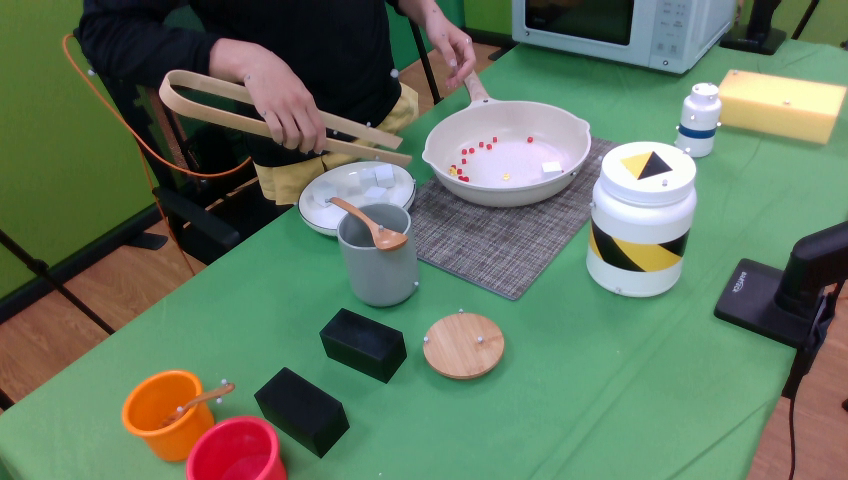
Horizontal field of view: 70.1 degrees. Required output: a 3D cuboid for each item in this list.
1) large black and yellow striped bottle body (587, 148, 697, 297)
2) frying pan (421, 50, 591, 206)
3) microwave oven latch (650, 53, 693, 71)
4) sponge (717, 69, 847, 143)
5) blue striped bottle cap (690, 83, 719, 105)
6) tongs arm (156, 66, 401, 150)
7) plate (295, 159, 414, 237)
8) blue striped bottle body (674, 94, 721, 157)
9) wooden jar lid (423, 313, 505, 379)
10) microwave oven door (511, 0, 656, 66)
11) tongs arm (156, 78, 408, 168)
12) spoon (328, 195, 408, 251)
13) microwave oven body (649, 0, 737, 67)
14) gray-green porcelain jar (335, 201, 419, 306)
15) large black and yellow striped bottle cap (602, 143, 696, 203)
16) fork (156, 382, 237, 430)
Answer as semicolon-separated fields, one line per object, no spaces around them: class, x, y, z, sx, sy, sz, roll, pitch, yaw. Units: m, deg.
large black and yellow striped bottle body;0.298;-0.026;0.835;0.131;0.185;0.130;-4;41;4
frying pan;0.127;-0.233;1.155;0.307;0.103;0.484;-11;49;-5
microwave oven latch;0.531;-0.386;1.301;0.078;0.029;0.030;26;51;33
sponge;0.663;-0.256;1.142;0.205;0.061;0.118;19;47;28
blue striped bottle cap;0.482;-0.251;1.038;0.044;0.021;0.044;-5;39;5
tongs arm;-0.189;-0.180;0.889;0.388;0.026;0.050;13;48;-38
plate;-0.118;-0.070;1.055;0.207;0.039;0.206;-5;40;5
blue striped bottle body;0.486;-0.213;1.072;0.063;0.121;0.063;-4;41;4
wooden jar lid;0.053;0.142;0.800;0.108;0.021;0.108;-5;39;4
microwave oven door;0.350;-0.539;1.349;0.353;0.245;0.039;24;50;31
tongs arm;-0.181;-0.156;0.875;0.391;0.027;0.028;11;53;-40
spoon;-0.083;-0.029;0.829;0.042;0.022;0.192;-32;43;-21
microwave oven body;0.475;-0.602;1.411;0.438;0.261;0.327;23;50;32
gray-green porcelain jar;-0.064;0.024;0.872;0.106;0.127;0.105;-4;41;4
large black and yellow striped bottle cap;0.289;-0.088;0.779;0.115;0.019;0.114;-5;39;4
fork;-0.262;0.189;0.690;0.206;0.018;0.028;-34;9;42
